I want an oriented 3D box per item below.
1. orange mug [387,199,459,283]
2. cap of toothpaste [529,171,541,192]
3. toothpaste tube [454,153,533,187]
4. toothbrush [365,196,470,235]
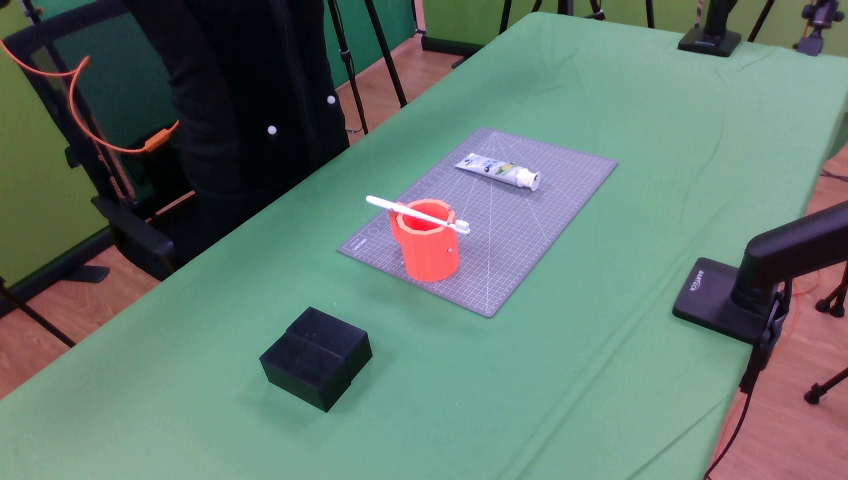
[{"bbox_3d":[-0.006,-0.007,0.922,0.125,0.101,0.084,32,54,32],"label":"orange mug"},{"bbox_3d":[0.193,-0.103,1.054,0.011,0.037,0.037,19,47,25],"label":"cap of toothpaste"},{"bbox_3d":[0.134,-0.130,1.104,0.163,0.034,0.055,24,44,37],"label":"toothpaste tube"},{"bbox_3d":[-0.013,-0.039,0.880,0.180,0.017,0.014,18,50,27],"label":"toothbrush"}]
